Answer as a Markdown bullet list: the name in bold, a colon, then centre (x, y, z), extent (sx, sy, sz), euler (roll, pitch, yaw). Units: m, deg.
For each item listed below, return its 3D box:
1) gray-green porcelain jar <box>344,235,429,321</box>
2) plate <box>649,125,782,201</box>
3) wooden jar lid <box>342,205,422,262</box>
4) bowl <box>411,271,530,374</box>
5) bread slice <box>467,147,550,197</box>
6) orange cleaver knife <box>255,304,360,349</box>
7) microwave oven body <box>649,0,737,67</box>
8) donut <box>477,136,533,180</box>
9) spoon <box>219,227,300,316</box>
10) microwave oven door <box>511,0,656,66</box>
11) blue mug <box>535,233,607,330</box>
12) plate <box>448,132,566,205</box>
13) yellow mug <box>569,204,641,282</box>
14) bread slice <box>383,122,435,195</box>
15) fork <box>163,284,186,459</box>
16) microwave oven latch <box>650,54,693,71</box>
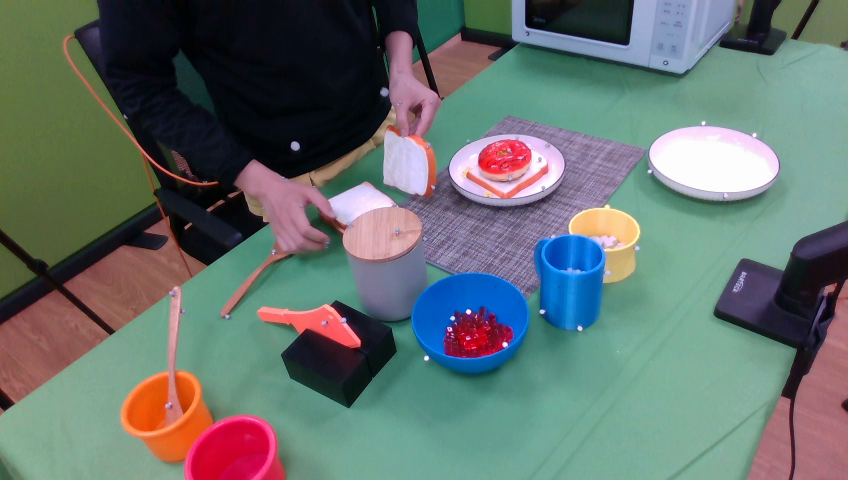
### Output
- **gray-green porcelain jar**: centre (-0.049, 0.042, 0.849), extent (0.106, 0.127, 0.105), euler (-4, 41, 4)
- **plate**: centre (0.493, -0.127, 1.036), extent (0.207, 0.039, 0.206), euler (-4, 41, 4)
- **wooden jar lid**: centre (-0.055, -0.006, 0.808), extent (0.108, 0.021, 0.108), euler (-6, 40, 6)
- **bowl**: centre (0.062, 0.120, 0.780), extent (0.151, 0.077, 0.150), euler (-4, 40, 4)
- **bread slice**: centre (0.157, -0.128, 1.084), extent (0.132, 0.019, 0.104), euler (-35, 48, -24)
- **orange cleaver knife**: centre (-0.161, 0.115, 0.813), extent (0.210, 0.077, 0.012), euler (-4, 32, 47)
- **microwave oven body**: centre (0.475, -0.602, 1.411), extent (0.438, 0.261, 0.327), euler (23, 50, 32)
- **donut**: centre (0.140, -0.145, 1.058), extent (0.099, 0.048, 0.098), euler (-6, 42, 6)
- **spoon**: centre (-0.260, 0.046, 0.954), extent (0.041, 0.021, 0.194), euler (27, 48, 10)
- **microwave oven door**: centre (0.351, -0.539, 1.348), extent (0.353, 0.245, 0.039), euler (24, 50, 31)
- **blue mug**: centre (0.191, 0.048, 0.824), extent (0.082, 0.106, 0.115), euler (-26, 44, -20)
- **plate**: centre (0.146, -0.124, 1.075), extent (0.209, 0.038, 0.208), euler (-4, 41, 4)
- **yellow mug**: centre (0.268, -0.005, 0.904), extent (0.099, 0.064, 0.130), euler (7, 41, 15)
- **bread slice**: centre (-0.028, -0.132, 1.030), extent (0.018, 0.107, 0.133), euler (-18, 34, -35)
- **fork**: centre (-0.302, 0.157, 0.733), extent (0.028, 0.019, 0.207), euler (-3, 84, 15)
- **microwave oven latch**: centre (0.531, -0.386, 1.301), extent (0.078, 0.029, 0.030), euler (26, 51, 33)
